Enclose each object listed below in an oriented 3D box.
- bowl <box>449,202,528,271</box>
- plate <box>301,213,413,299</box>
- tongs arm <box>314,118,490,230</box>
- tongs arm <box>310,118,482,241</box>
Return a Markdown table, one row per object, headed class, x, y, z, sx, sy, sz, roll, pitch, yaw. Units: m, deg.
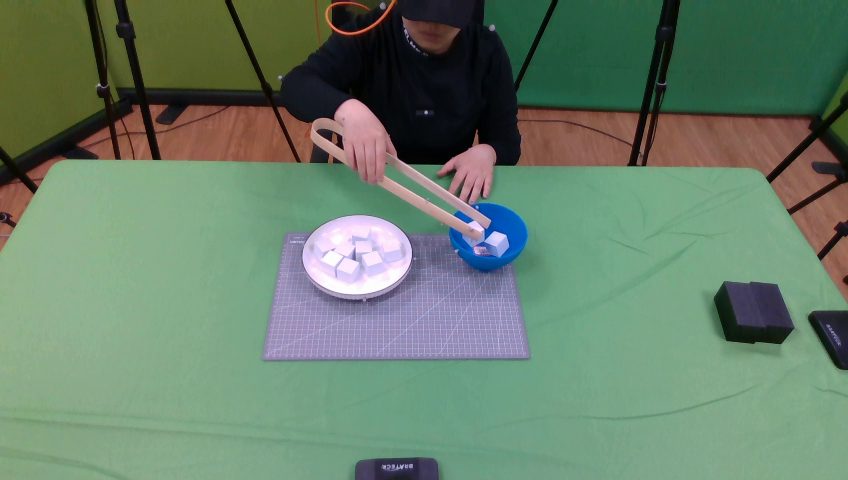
| class | x | y | z | sx | sy | sz | roll | pitch | yaw |
| --- | --- | --- | --- | --- | --- | --- | --- | --- | --- |
| bowl | 0.118 | 0.006 | 1.160 | 0.151 | 0.077 | 0.150 | 2 | 46 | -2 |
| plate | -0.124 | 0.033 | 1.143 | 0.208 | 0.039 | 0.206 | 2 | 46 | -2 |
| tongs arm | -0.043 | -0.128 | 1.149 | 0.387 | 0.028 | 0.028 | 33 | 52 | 7 |
| tongs arm | -0.056 | -0.114 | 1.132 | 0.384 | 0.026 | 0.050 | 30 | 48 | 5 |
